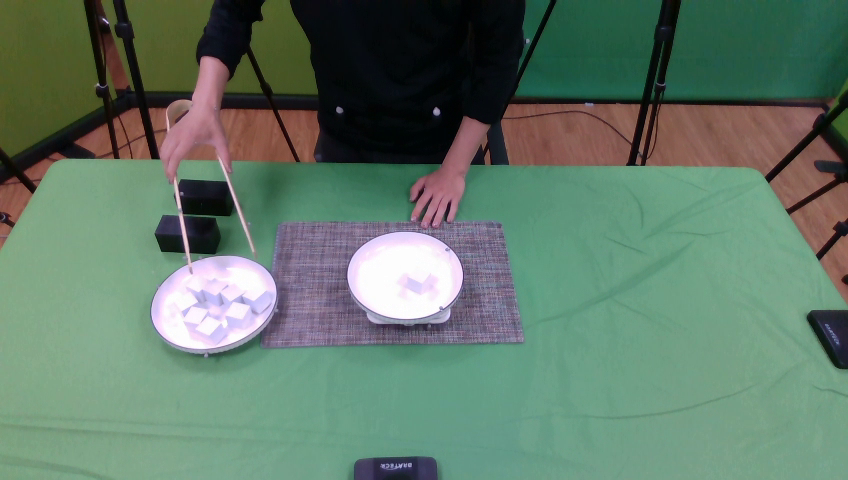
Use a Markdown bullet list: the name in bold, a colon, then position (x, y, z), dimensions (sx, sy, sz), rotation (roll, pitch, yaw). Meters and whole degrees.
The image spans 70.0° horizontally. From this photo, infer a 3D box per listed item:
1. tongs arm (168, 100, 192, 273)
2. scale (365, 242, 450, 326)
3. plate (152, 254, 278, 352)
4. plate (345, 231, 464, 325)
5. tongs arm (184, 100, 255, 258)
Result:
- **tongs arm**: position (-0.431, -0.109, 1.101), dimensions (0.051, 0.026, 0.382), rotation (-15, 60, -14)
- **scale**: position (-0.032, 0.071, 1.113), dimensions (0.149, 0.032, 0.199), rotation (0, 46, -4)
- **plate**: position (-0.357, 0.111, 1.052), dimensions (0.208, 0.039, 0.206), rotation (2, 46, -2)
- **plate**: position (-0.034, 0.069, 1.069), dimensions (0.209, 0.038, 0.208), rotation (2, 46, -2)
- **tongs arm**: position (-0.377, -0.123, 1.117), dimensions (0.028, 0.028, 0.385), rotation (-22, 62, -14)
